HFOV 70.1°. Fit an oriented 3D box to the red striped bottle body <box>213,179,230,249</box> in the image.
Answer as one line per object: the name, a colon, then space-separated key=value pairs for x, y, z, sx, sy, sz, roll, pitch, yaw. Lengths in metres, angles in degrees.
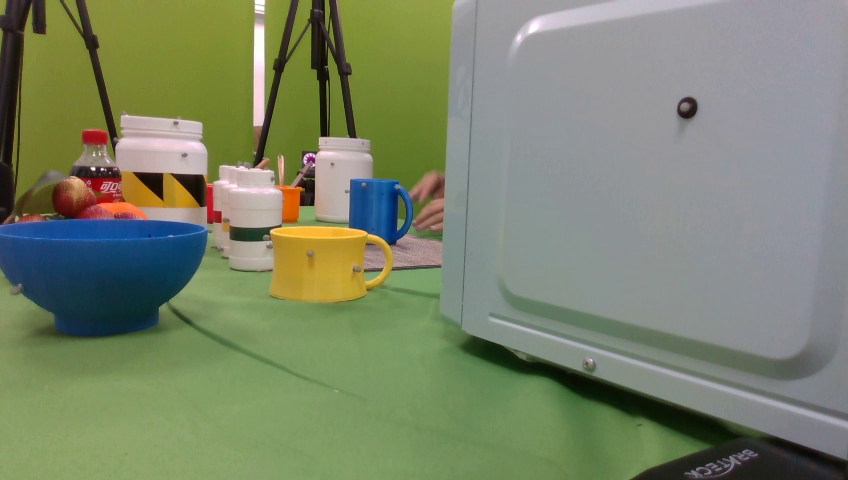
red striped bottle body: x=-0.284 y=-0.048 z=0.909 sx=0.063 sy=0.119 sz=0.063 roll=3 pitch=10 yaw=0

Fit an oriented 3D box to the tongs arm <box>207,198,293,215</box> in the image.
tongs arm: x=-0.423 y=-0.084 z=1.473 sx=0.050 sy=0.026 sz=0.386 roll=2 pitch=6 yaw=21

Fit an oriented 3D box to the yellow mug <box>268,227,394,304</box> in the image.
yellow mug: x=-0.094 y=0.023 z=0.630 sx=0.131 sy=0.064 sz=0.099 roll=0 pitch=7 yaw=-22

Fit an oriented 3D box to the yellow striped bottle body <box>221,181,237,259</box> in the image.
yellow striped bottle body: x=-0.244 y=-0.036 z=0.823 sx=0.063 sy=0.120 sz=0.063 roll=2 pitch=8 yaw=0

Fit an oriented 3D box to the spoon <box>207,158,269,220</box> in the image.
spoon: x=-0.380 y=-0.108 z=1.251 sx=0.041 sy=0.022 sz=0.194 roll=4 pitch=51 yaw=39

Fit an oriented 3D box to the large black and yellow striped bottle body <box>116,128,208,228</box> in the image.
large black and yellow striped bottle body: x=-0.404 y=-0.089 z=0.937 sx=0.131 sy=0.184 sz=0.130 roll=3 pitch=7 yaw=0

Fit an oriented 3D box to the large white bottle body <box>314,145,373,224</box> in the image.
large white bottle body: x=-0.182 y=-0.134 z=1.362 sx=0.131 sy=0.184 sz=0.130 roll=2 pitch=7 yaw=0

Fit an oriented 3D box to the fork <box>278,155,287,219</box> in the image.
fork: x=-0.318 y=-0.120 z=1.342 sx=0.028 sy=0.018 sz=0.206 roll=0 pitch=52 yaw=-13

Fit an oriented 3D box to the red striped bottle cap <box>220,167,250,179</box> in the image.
red striped bottle cap: x=-0.281 y=-0.099 z=0.901 sx=0.044 sy=0.017 sz=0.044 roll=-1 pitch=4 yaw=0

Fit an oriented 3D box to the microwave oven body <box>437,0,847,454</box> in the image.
microwave oven body: x=0.279 y=-0.040 z=0.464 sx=0.444 sy=0.260 sz=0.324 roll=-3 pitch=9 yaw=-41

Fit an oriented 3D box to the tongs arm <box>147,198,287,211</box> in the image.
tongs arm: x=-0.504 y=-0.091 z=1.513 sx=0.028 sy=0.028 sz=0.389 roll=-1 pitch=4 yaw=37

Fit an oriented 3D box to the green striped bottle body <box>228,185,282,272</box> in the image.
green striped bottle body: x=-0.208 y=-0.023 z=0.745 sx=0.063 sy=0.119 sz=0.063 roll=2 pitch=7 yaw=0

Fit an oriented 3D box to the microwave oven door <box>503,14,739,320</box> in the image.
microwave oven door: x=0.218 y=-0.065 z=0.600 sx=0.358 sy=0.243 sz=0.039 roll=-4 pitch=10 yaw=-41

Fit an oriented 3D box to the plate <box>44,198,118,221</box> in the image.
plate: x=-0.617 y=-0.056 z=1.179 sx=0.209 sy=0.038 sz=0.209 roll=3 pitch=7 yaw=0

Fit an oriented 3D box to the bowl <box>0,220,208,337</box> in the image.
bowl: x=-0.251 y=0.029 z=0.479 sx=0.151 sy=0.077 sz=0.151 roll=2 pitch=7 yaw=0

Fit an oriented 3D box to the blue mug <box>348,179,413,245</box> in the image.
blue mug: x=-0.071 y=-0.047 z=1.002 sx=0.116 sy=0.106 sz=0.082 roll=7 pitch=9 yaw=26

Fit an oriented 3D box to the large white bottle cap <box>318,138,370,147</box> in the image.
large white bottle cap: x=-0.179 y=-0.218 z=1.351 sx=0.115 sy=0.018 sz=0.115 roll=2 pitch=8 yaw=0

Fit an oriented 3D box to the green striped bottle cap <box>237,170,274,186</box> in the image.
green striped bottle cap: x=-0.205 y=-0.075 z=0.737 sx=0.044 sy=0.020 sz=0.044 roll=1 pitch=6 yaw=0

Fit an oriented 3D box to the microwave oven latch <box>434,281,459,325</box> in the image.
microwave oven latch: x=0.044 y=0.045 z=0.470 sx=0.079 sy=0.029 sz=0.030 roll=-2 pitch=8 yaw=-39

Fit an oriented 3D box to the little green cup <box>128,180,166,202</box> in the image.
little green cup: x=-0.485 y=-0.087 z=1.062 sx=0.061 sy=0.038 sz=0.061 roll=-1 pitch=6 yaw=0

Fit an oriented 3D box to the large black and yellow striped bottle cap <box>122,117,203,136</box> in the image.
large black and yellow striped bottle cap: x=-0.399 y=-0.174 z=0.927 sx=0.115 sy=0.019 sz=0.115 roll=5 pitch=9 yaw=-1

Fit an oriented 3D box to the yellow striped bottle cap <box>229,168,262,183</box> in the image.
yellow striped bottle cap: x=-0.240 y=-0.087 z=0.816 sx=0.044 sy=0.018 sz=0.044 roll=-3 pitch=5 yaw=1

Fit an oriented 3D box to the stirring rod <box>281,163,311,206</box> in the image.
stirring rod: x=-0.292 y=-0.111 z=1.324 sx=0.014 sy=0.006 sz=0.176 roll=1 pitch=47 yaw=30
